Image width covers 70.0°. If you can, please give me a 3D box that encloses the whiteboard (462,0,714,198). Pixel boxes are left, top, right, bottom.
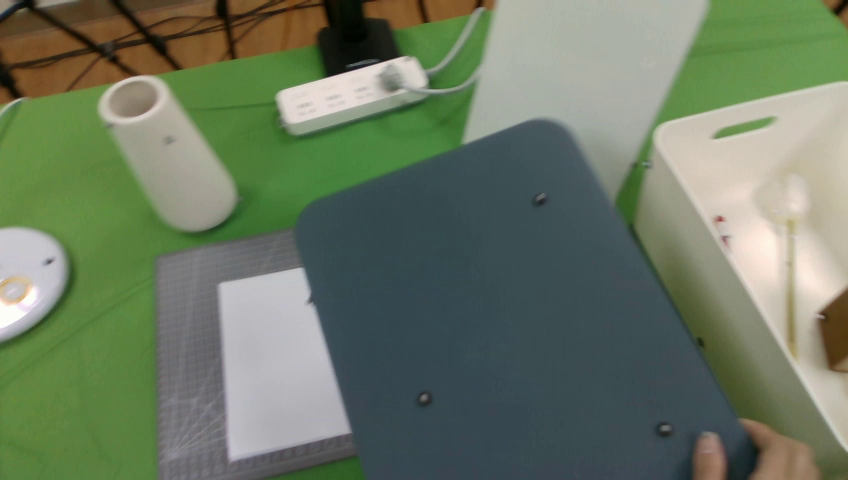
[{"bbox_3d":[0.199,-0.195,0.723,0.215,0.307,0.144,38,48,23],"label":"whiteboard"}]

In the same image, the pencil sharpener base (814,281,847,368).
[{"bbox_3d":[0.457,0.084,0.612,0.061,0.108,0.076,6,59,6],"label":"pencil sharpener base"}]

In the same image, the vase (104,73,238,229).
[{"bbox_3d":[-0.293,-0.098,0.711,0.098,0.202,0.097,-2,58,3],"label":"vase"}]

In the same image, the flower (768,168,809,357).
[{"bbox_3d":[0.399,0.069,0.668,0.044,0.038,0.359,-3,55,36],"label":"flower"}]

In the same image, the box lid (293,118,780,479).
[{"bbox_3d":[0.064,0.076,0.468,0.263,0.015,0.368,-21,65,-6],"label":"box lid"}]

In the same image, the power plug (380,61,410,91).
[{"bbox_3d":[-0.040,-0.217,0.844,0.035,0.053,0.072,-9,60,-2],"label":"power plug"}]

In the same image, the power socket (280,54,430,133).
[{"bbox_3d":[-0.097,-0.212,0.871,0.227,0.033,0.071,-17,60,-9],"label":"power socket"}]

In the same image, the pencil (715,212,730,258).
[{"bbox_3d":[0.352,0.051,0.696,0.012,0.012,0.192,4,61,6],"label":"pencil"}]

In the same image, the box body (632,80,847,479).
[{"bbox_3d":[0.403,0.037,0.618,0.254,0.162,0.360,-14,59,-6],"label":"box body"}]

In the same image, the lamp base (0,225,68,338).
[{"bbox_3d":[-0.529,0.006,0.669,0.178,0.182,0.159,15,60,15],"label":"lamp base"}]
